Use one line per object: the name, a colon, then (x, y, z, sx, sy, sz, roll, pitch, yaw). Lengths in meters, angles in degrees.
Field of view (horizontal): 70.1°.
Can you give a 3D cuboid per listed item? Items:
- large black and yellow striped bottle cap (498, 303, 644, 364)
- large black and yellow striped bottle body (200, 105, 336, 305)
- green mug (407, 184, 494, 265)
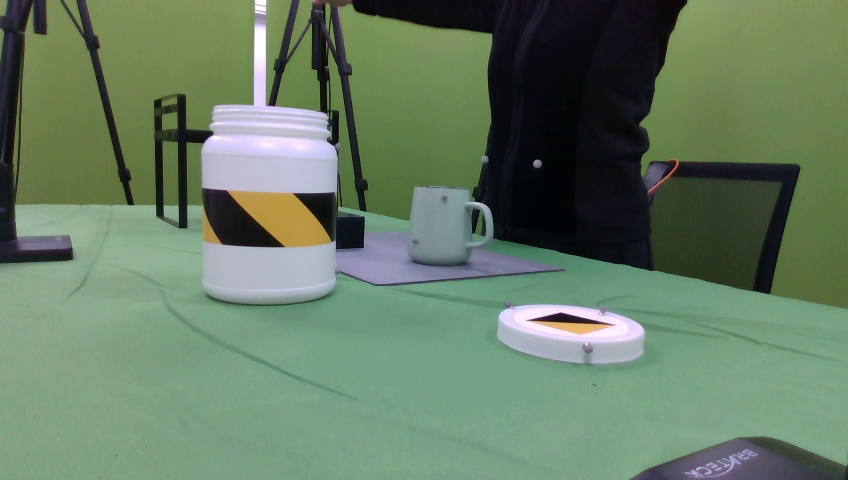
large black and yellow striped bottle cap: (0.117, 0.072, 0.487, 0.115, 0.019, 0.115, 1, 8, 0)
large black and yellow striped bottle body: (-0.154, -0.037, 0.606, 0.131, 0.184, 0.130, 2, 7, 0)
green mug: (0.038, -0.021, 0.827, 0.125, 0.105, 0.093, 6, 8, 30)
